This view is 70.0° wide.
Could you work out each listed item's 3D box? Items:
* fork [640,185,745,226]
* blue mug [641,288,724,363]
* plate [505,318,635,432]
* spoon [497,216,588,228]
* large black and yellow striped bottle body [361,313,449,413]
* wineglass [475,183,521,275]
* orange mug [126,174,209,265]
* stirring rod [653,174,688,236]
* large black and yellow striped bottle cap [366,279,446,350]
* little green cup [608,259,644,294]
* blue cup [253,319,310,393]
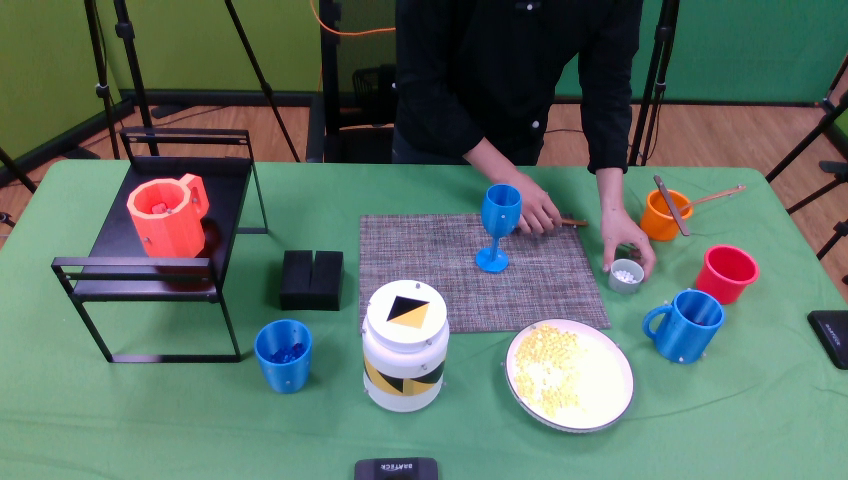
[{"bbox_3d":[0.534,-0.069,1.215,0.207,0.019,0.028,-26,27,33],"label":"fork"},{"bbox_3d":[0.432,0.144,1.033,0.116,0.106,0.082,8,46,5],"label":"blue mug"},{"bbox_3d":[0.235,0.221,0.991,0.209,0.038,0.208,2,45,-2],"label":"plate"},{"bbox_3d":[0.245,-0.039,1.247,0.194,0.022,0.041,-2,24,-6],"label":"spoon"},{"bbox_3d":[-0.031,0.163,0.924,0.131,0.185,0.130,2,46,-2],"label":"large black and yellow striped bottle body"},{"bbox_3d":[0.134,-0.020,1.115,0.074,0.173,0.073,2,46,-2],"label":"wineglass"},{"bbox_3d":[-0.371,-0.039,0.902,0.083,0.101,0.126,18,51,14],"label":"orange mug"},{"bbox_3d":[0.491,-0.072,1.211,0.014,0.006,0.175,0,47,-6],"label":"stirring rod"},{"bbox_3d":[-0.025,0.104,0.864,0.115,0.019,0.114,3,48,-3],"label":"large black and yellow striped bottle cap"},{"bbox_3d":[0.379,0.070,1.147,0.061,0.039,0.061,4,45,-4],"label":"little green cup"},{"bbox_3d":[-0.217,0.187,0.943,0.093,0.101,0.092,3,45,-3],"label":"blue cup"}]
